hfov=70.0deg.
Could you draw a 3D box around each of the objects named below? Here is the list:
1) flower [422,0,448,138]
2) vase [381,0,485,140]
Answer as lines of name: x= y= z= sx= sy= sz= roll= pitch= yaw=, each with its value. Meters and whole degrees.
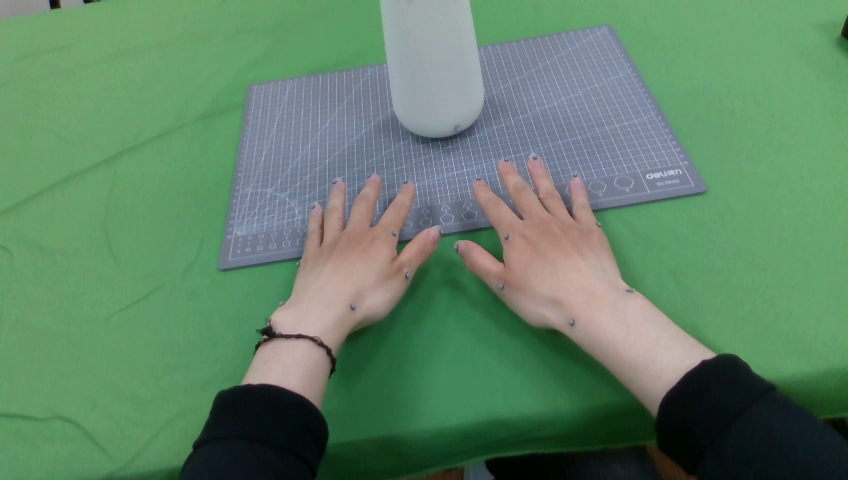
flower: x=-0.004 y=-0.263 z=0.538 sx=0.038 sy=0.364 sz=0.043 roll=-25 pitch=32 yaw=-27
vase: x=0.006 y=-0.197 z=0.589 sx=0.098 sy=0.202 sz=0.097 roll=-5 pitch=47 yaw=6
